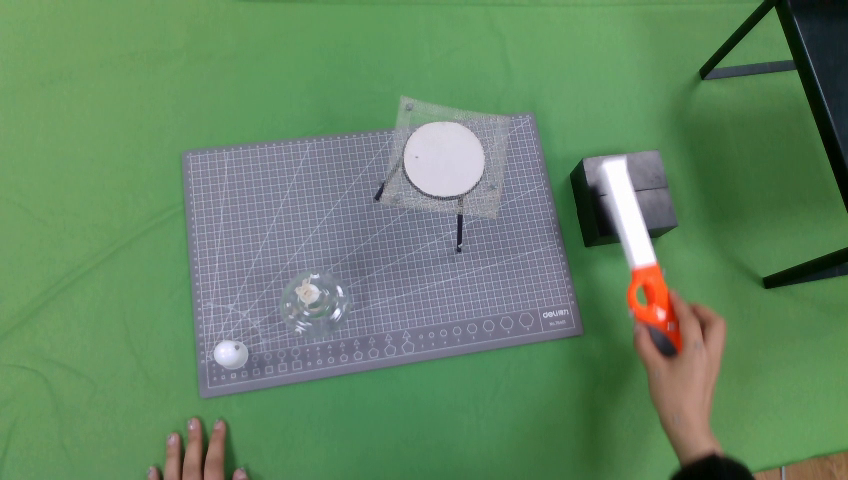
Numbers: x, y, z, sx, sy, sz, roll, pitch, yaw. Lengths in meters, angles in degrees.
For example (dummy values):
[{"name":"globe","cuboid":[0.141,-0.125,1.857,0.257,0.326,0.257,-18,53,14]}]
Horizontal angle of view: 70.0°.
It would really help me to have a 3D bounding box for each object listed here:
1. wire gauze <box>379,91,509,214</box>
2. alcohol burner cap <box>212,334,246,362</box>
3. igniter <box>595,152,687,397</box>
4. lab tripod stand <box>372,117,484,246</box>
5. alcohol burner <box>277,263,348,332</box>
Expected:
[{"name":"wire gauze","cuboid":[0.023,-0.091,0.630,0.121,0.011,0.124,10,74,-3]},{"name":"alcohol burner cap","cuboid":[-0.218,0.118,0.670,0.034,0.048,0.033,2,75,-6]},{"name":"igniter","cuboid":[0.243,0.035,0.678,0.057,0.025,0.275,-11,81,-16]},{"name":"lab tripod stand","cuboid":[0.014,-0.076,0.695,0.148,0.132,0.147,1,74,-5]},{"name":"alcohol burner","cuboid":[-0.122,0.060,0.657,0.078,0.119,0.077,1,77,-5]}]
